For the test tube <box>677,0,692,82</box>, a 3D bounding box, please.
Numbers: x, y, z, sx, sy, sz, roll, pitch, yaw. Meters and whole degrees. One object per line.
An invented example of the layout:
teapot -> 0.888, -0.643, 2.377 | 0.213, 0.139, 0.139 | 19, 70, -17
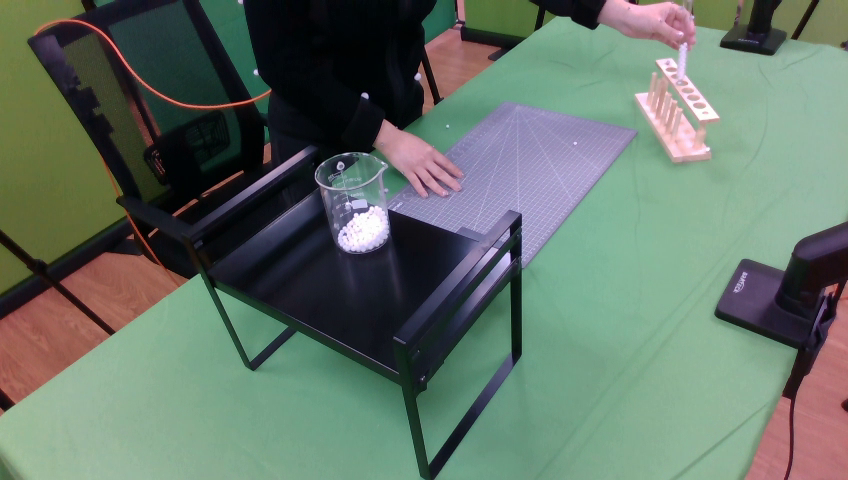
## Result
test tube -> 0.468, -0.358, 1.087 | 0.017, 0.151, 0.017 | -7, 33, 5

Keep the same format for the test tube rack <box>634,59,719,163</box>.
test tube rack -> 0.471, -0.250, 1.148 | 0.067, 0.085, 0.241 | -6, 40, 3

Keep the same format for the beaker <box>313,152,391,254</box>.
beaker -> -0.076, -0.041, 0.697 | 0.084, 0.101, 0.073 | -15, 41, -10
